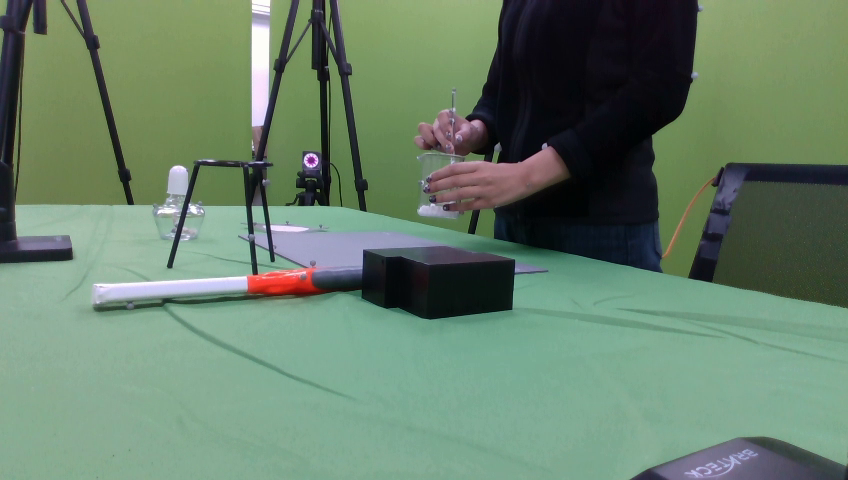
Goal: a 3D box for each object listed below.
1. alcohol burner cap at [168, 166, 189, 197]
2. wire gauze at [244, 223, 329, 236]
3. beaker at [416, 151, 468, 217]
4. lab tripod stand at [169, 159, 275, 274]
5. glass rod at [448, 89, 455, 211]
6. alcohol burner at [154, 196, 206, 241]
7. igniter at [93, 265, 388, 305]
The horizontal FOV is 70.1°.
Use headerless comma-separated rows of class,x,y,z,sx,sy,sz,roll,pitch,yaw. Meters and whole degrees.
alcohol burner cap,-0.392,-0.095,0.970,0.034,0.048,0.034,7,7,-1
wire gauze,-0.266,-0.024,1.156,0.124,0.011,0.122,12,12,40
beaker,0.025,-0.088,0.964,0.084,0.100,0.073,2,3,-21
lab tripod stand,-0.230,-0.030,0.724,0.148,0.131,0.148,1,9,0
glass rod,0.043,-0.145,0.969,0.008,0.199,0.008,2,-6,1
alcohol burner,-0.393,-0.059,0.974,0.078,0.119,0.078,1,8,0
igniter,-0.164,0.042,0.589,0.278,0.025,0.057,-2,-6,-31
